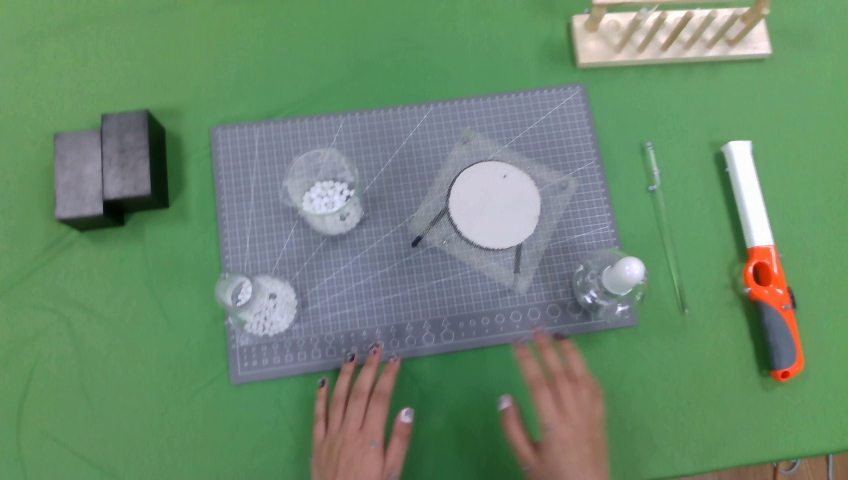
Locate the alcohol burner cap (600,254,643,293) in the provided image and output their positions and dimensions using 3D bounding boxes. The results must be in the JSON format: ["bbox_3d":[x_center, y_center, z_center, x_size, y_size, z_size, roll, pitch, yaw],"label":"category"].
[{"bbox_3d":[0.196,0.030,0.596,0.034,0.048,0.033,2,70,-4],"label":"alcohol burner cap"}]

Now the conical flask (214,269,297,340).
[{"bbox_3d":[-0.174,0.059,0.607,0.075,0.122,0.075,1,77,-2],"label":"conical flask"}]

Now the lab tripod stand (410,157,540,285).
[{"bbox_3d":[0.059,-0.019,0.628,0.148,0.132,0.147,0,79,-1],"label":"lab tripod stand"}]

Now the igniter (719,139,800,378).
[{"bbox_3d":[0.381,0.016,0.691,0.057,0.025,0.275,-3,77,-14],"label":"igniter"}]

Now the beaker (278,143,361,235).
[{"bbox_3d":[-0.107,-0.048,0.645,0.084,0.100,0.073,-24,78,-7],"label":"beaker"}]

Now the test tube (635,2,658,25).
[{"bbox_3d":[0.268,-0.288,0.675,0.017,0.150,0.017,2,76,-6],"label":"test tube"}]

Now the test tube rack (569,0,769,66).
[{"bbox_3d":[0.306,-0.265,0.721,0.242,0.085,0.066,-4,77,-3],"label":"test tube rack"}]

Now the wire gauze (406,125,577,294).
[{"bbox_3d":[0.064,-0.032,0.563,0.125,0.011,0.121,29,79,4],"label":"wire gauze"}]

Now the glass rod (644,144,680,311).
[{"bbox_3d":[0.277,-0.017,0.704,0.008,0.008,0.199,-6,80,-4],"label":"glass rod"}]

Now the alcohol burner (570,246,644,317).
[{"bbox_3d":[0.195,0.040,0.631,0.078,0.119,0.077,0,77,1],"label":"alcohol burner"}]
